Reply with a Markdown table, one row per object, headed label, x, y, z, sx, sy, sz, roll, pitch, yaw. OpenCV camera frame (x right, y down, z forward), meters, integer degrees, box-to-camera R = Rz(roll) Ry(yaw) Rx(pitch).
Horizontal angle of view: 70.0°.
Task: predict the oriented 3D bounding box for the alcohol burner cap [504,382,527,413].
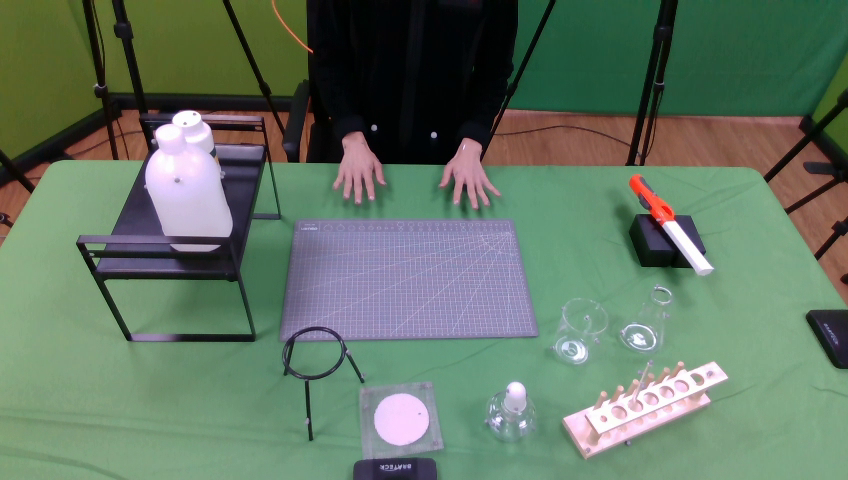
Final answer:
| label | x | y | z | sx | sy | sz | roll | pitch | yaw |
| --- | --- | --- | --- | --- | --- | --- | --- | --- | --- |
| alcohol burner cap | 0.133 | 0.225 | 0.877 | 0.034 | 0.048 | 0.033 | -4 | 47 | 5 |

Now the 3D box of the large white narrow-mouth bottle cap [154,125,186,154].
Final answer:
| label | x | y | z | sx | sy | sz | roll | pitch | yaw |
| --- | --- | --- | --- | --- | --- | --- | --- | --- | --- |
| large white narrow-mouth bottle cap | -0.340 | -0.135 | 0.812 | 0.038 | 0.024 | 0.037 | 2 | 48 | -2 |

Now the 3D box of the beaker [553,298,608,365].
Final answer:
| label | x | y | z | sx | sy | sz | roll | pitch | yaw |
| --- | --- | --- | --- | --- | --- | --- | --- | --- | --- |
| beaker | 0.260 | 0.154 | 1.015 | 0.073 | 0.101 | 0.084 | 37 | 54 | 27 |

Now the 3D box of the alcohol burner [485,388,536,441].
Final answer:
| label | x | y | z | sx | sy | sz | roll | pitch | yaw |
| --- | --- | --- | --- | --- | --- | --- | --- | --- | --- |
| alcohol burner | 0.131 | 0.249 | 0.904 | 0.078 | 0.120 | 0.077 | 1 | 48 | -1 |

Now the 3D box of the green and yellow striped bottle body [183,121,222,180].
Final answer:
| label | x | y | z | sx | sy | sz | roll | pitch | yaw |
| --- | --- | --- | --- | --- | --- | --- | --- | --- | --- |
| green and yellow striped bottle body | -0.375 | -0.149 | 0.995 | 0.063 | 0.120 | 0.063 | 2 | 46 | -2 |

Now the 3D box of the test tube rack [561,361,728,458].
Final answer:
| label | x | y | z | sx | sy | sz | roll | pitch | yaw |
| --- | --- | --- | --- | --- | --- | --- | --- | --- | --- |
| test tube rack | 0.341 | 0.248 | 0.940 | 0.243 | 0.085 | 0.066 | -15 | 49 | -18 |

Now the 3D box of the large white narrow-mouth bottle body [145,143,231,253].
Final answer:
| label | x | y | z | sx | sy | sz | roll | pitch | yaw |
| --- | --- | --- | --- | --- | --- | --- | --- | --- | --- |
| large white narrow-mouth bottle body | -0.344 | -0.077 | 0.877 | 0.102 | 0.195 | 0.101 | 2 | 48 | -2 |

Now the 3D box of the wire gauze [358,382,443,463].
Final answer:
| label | x | y | z | sx | sy | sz | roll | pitch | yaw |
| --- | --- | --- | --- | --- | --- | --- | --- | --- | --- |
| wire gauze | -0.039 | 0.277 | 0.937 | 0.121 | 0.011 | 0.124 | -4 | 47 | -7 |

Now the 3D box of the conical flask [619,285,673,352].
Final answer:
| label | x | y | z | sx | sy | sz | roll | pitch | yaw |
| --- | --- | --- | --- | --- | --- | --- | --- | --- | --- |
| conical flask | 0.385 | 0.130 | 1.031 | 0.075 | 0.122 | 0.075 | 2 | 46 | -2 |

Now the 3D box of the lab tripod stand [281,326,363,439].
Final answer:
| label | x | y | z | sx | sy | sz | roll | pitch | yaw |
| --- | --- | --- | --- | --- | --- | --- | --- | --- | --- |
| lab tripod stand | -0.166 | 0.202 | 0.913 | 0.148 | 0.132 | 0.147 | 1 | 47 | -1 |

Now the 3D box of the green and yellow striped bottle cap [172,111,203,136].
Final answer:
| label | x | y | z | sx | sy | sz | roll | pitch | yaw |
| --- | --- | --- | --- | --- | --- | --- | --- | --- | --- |
| green and yellow striped bottle cap | -0.374 | -0.185 | 0.958 | 0.045 | 0.020 | 0.045 | 4 | 46 | -4 |

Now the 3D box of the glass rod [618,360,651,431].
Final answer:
| label | x | y | z | sx | sy | sz | roll | pitch | yaw |
| --- | --- | --- | --- | --- | --- | --- | --- | --- | --- |
| glass rod | 0.298 | 0.227 | 0.865 | 0.008 | 0.201 | 0.008 | -1 | 47 | 2 |

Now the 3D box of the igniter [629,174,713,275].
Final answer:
| label | x | y | z | sx | sy | sz | roll | pitch | yaw |
| --- | --- | --- | --- | --- | --- | --- | --- | --- | --- |
| igniter | 0.481 | -0.040 | 1.202 | 0.057 | 0.025 | 0.274 | -2 | 46 | -21 |
